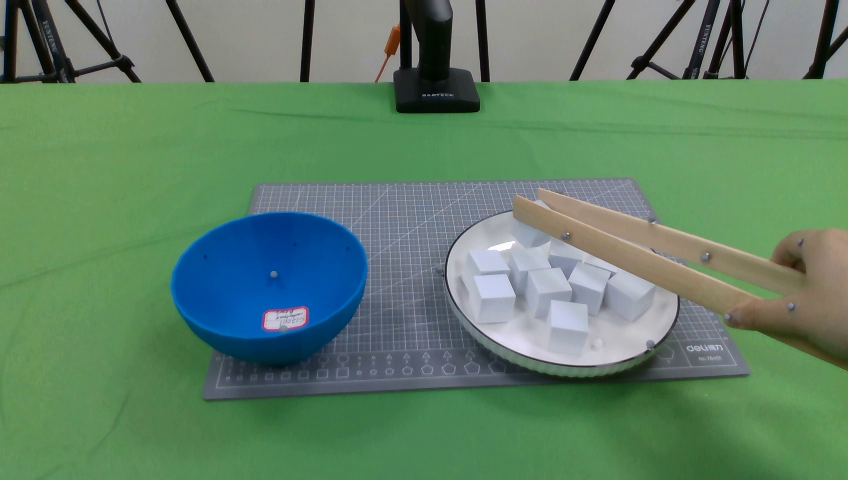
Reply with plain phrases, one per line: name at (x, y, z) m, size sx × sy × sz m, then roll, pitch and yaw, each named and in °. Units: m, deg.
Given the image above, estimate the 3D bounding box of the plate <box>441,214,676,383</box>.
plate at (0.118, 0.050, 0.551) m, size 0.208 × 0.039 × 0.205 m, roll 2°, pitch 39°, yaw -1°

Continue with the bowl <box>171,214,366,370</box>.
bowl at (-0.122, 0.053, 0.501) m, size 0.151 × 0.077 × 0.150 m, roll 2°, pitch 39°, yaw -1°

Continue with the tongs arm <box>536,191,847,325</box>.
tongs arm at (0.229, 0.030, 0.455) m, size 0.381 × 0.027 × 0.051 m, roll 24°, pitch 38°, yaw 39°

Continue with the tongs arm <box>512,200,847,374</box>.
tongs arm at (0.212, 0.038, 0.442) m, size 0.028 × 0.028 × 0.383 m, roll -21°, pitch 34°, yaw -36°
